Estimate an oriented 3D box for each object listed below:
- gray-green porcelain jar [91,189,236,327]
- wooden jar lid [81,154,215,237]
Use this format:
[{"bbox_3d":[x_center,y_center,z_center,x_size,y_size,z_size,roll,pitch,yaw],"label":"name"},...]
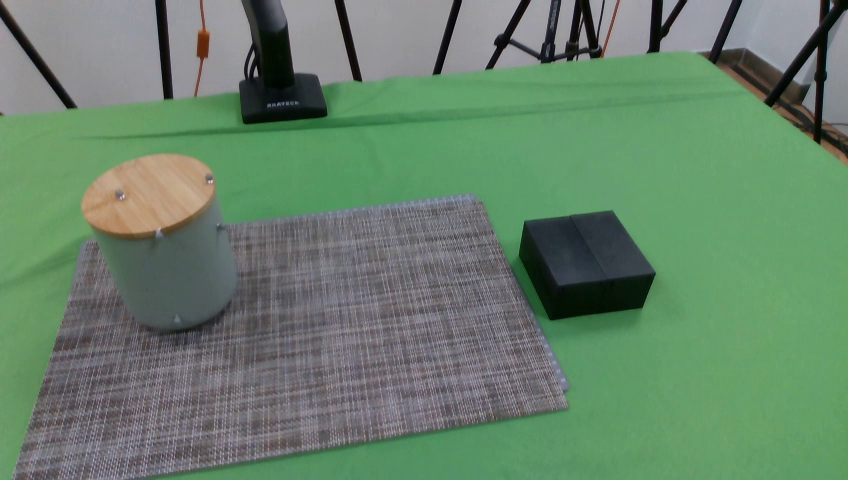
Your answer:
[{"bbox_3d":[-0.237,0.010,0.566,0.106,0.127,0.105,1,42,-1],"label":"gray-green porcelain jar"},{"bbox_3d":[-0.235,-0.037,0.524,0.108,0.021,0.107,2,44,-2],"label":"wooden jar lid"}]
